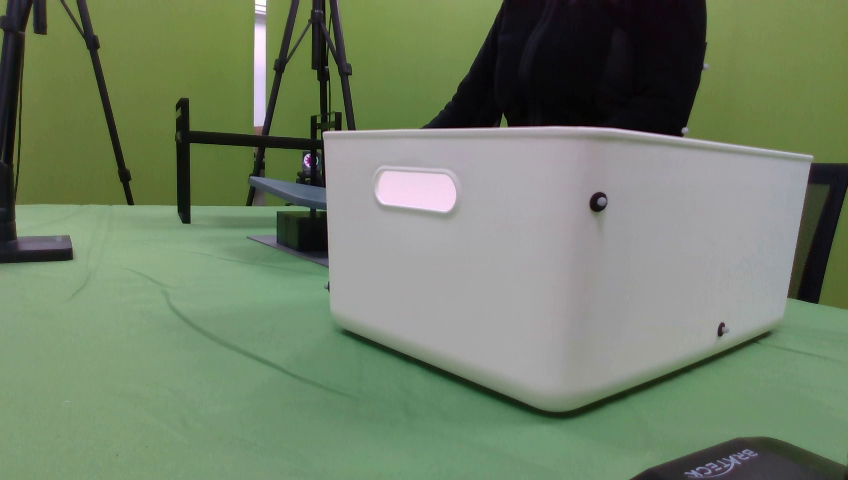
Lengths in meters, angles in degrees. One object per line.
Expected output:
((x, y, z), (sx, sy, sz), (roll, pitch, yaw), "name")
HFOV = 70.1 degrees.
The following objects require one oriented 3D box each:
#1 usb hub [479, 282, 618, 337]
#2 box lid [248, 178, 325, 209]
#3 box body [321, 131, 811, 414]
((0.110, 0.058, 0.525), (0.126, 0.025, 0.049), (-4, 10, -36), "usb hub")
((-0.067, -0.056, 0.965), (0.374, 0.015, 0.262), (5, 9, -34), "box lid")
((0.124, 0.000, 0.510), (0.366, 0.160, 0.253), (-4, 10, -42), "box body")
